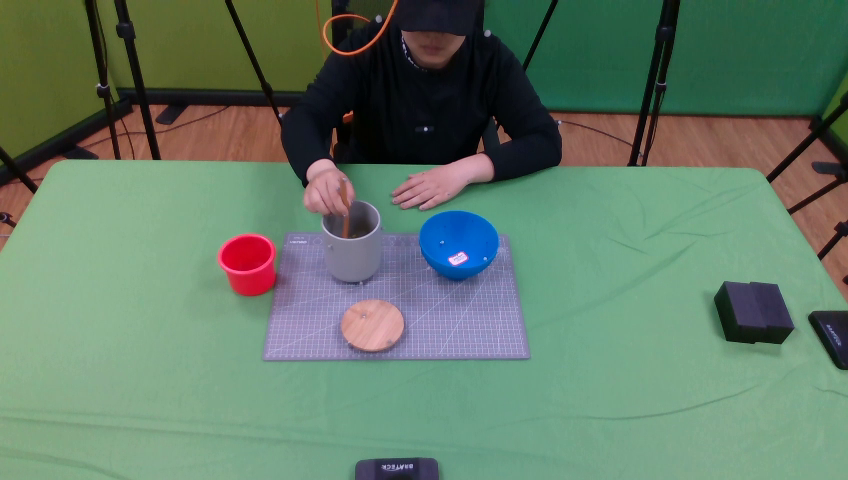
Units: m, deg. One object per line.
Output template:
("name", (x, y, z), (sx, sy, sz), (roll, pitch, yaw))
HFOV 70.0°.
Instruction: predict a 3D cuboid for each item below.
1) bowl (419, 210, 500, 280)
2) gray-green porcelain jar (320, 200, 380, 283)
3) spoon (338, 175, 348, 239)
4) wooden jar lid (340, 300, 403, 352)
("bowl", (0.062, 0.022, 1.140), (0.151, 0.077, 0.150), (2, 46, -2))
("gray-green porcelain jar", (-0.132, 0.007, 1.106), (0.106, 0.127, 0.105), (2, 46, -2))
("spoon", (-0.142, -0.033, 1.070), (0.022, 0.194, 0.041), (-15, 41, -26))
("wooden jar lid", (-0.090, 0.150, 1.046), (0.108, 0.021, 0.107), (3, 47, -3))
